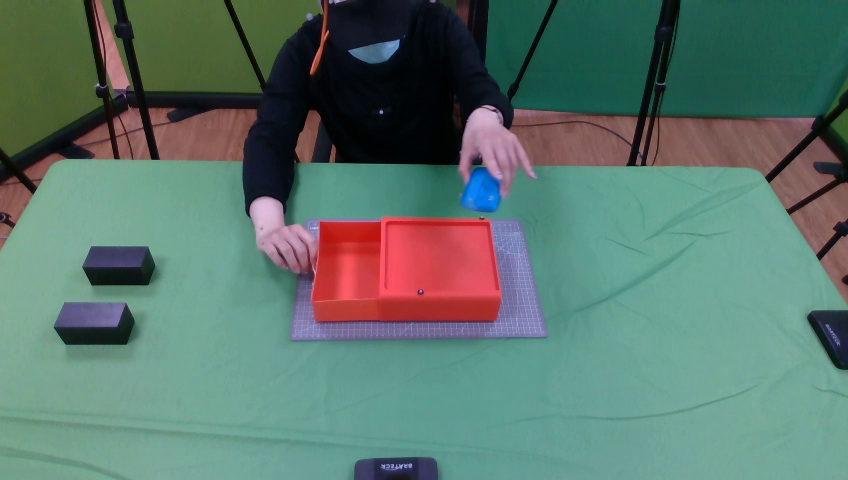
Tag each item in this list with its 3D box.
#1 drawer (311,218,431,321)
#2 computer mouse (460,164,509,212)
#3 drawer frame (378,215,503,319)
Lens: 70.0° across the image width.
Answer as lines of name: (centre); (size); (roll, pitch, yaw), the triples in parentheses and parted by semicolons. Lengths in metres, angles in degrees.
drawer: (-0.091, 0.049, 1.096); (0.212, 0.073, 0.193); (0, 46, -3)
computer mouse: (0.105, -0.092, 1.030); (0.062, 0.041, 0.116); (13, 42, 13)
drawer frame: (0.024, 0.047, 1.103); (0.214, 0.083, 0.200); (1, 46, -4)
